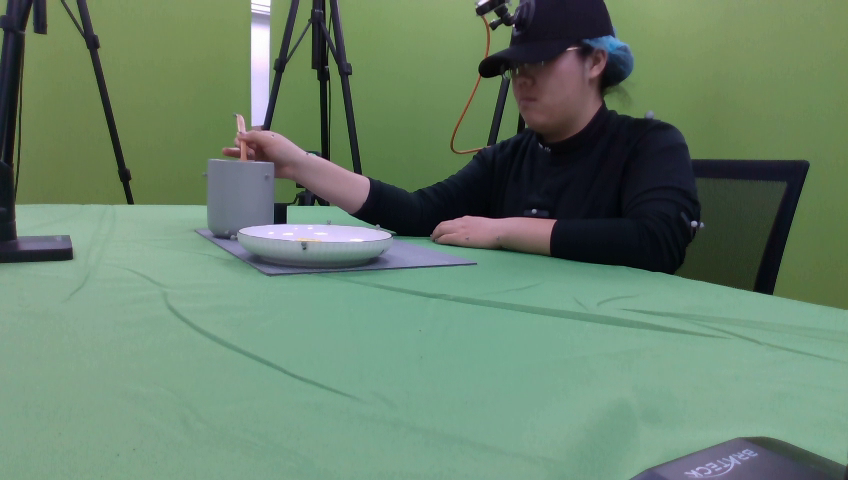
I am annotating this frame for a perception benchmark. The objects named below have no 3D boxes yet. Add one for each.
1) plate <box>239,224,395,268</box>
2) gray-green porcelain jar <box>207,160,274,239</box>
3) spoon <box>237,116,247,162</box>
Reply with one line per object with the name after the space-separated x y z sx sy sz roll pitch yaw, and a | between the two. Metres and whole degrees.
-0.144 0.007 0.823 0.208 0.039 0.207 3 7 0 | plate
-0.304 -0.068 1.004 0.106 0.126 0.106 3 7 0 | gray-green porcelain jar
-0.306 -0.149 1.024 0.042 0.193 0.021 8 -40 -26 | spoon
